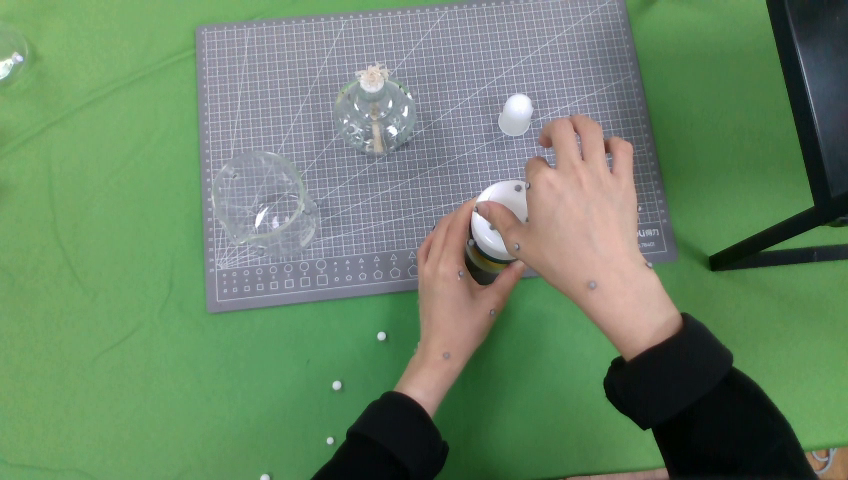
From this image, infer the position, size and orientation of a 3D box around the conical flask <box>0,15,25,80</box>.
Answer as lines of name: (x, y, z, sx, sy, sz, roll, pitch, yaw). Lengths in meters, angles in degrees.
conical flask: (-0.440, -0.204, 0.558, 0.075, 0.122, 0.075, 0, 77, -1)

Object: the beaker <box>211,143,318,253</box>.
beaker: (-0.137, -0.029, 0.537, 0.074, 0.100, 0.083, 22, 79, 4)

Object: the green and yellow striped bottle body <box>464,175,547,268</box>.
green and yellow striped bottle body: (0.070, -0.016, 0.528, 0.063, 0.120, 0.063, 0, 77, -1)

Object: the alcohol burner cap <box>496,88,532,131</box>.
alcohol burner cap: (0.090, -0.131, 0.593, 0.034, 0.048, 0.033, 0, 77, -1)

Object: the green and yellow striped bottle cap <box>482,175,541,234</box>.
green and yellow striped bottle cap: (0.069, -0.028, 0.475, 0.045, 0.020, 0.045, 0, 77, -1)

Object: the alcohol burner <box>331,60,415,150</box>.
alcohol burner: (-0.047, -0.129, 0.553, 0.078, 0.119, 0.077, 1, 76, -2)
